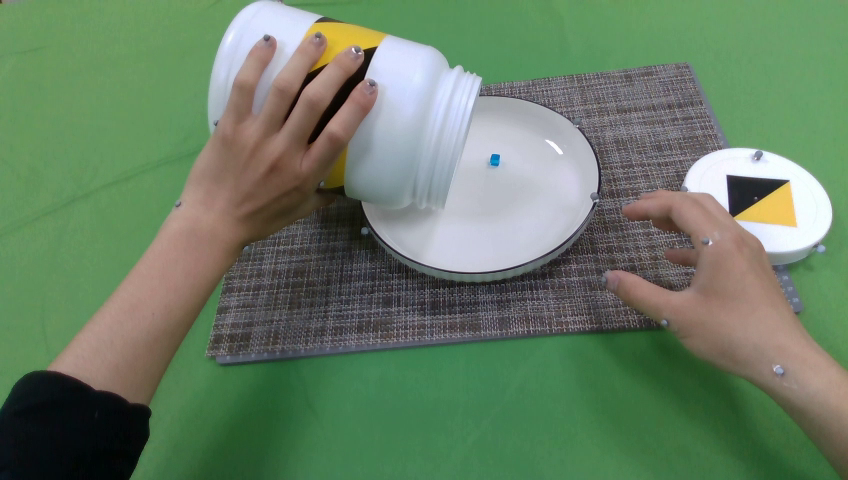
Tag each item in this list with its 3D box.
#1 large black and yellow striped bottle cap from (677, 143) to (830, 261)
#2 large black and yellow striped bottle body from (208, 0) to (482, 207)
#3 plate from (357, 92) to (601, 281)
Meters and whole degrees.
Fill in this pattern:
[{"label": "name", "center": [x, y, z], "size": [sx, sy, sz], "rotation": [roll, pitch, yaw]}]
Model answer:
[{"label": "large black and yellow striped bottle cap", "center": [0.270, -0.034, 0.499], "size": [0.115, 0.019, 0.114], "rotation": [-2, 54, 2]}, {"label": "large black and yellow striped bottle body", "center": [-0.056, -0.103, 0.478], "size": [0.184, 0.131, 0.130], "rotation": [17, 56, 2]}, {"label": "plate", "center": [0.047, -0.048, 0.529], "size": [0.207, 0.039, 0.205], "rotation": [-4, 53, 5]}]
